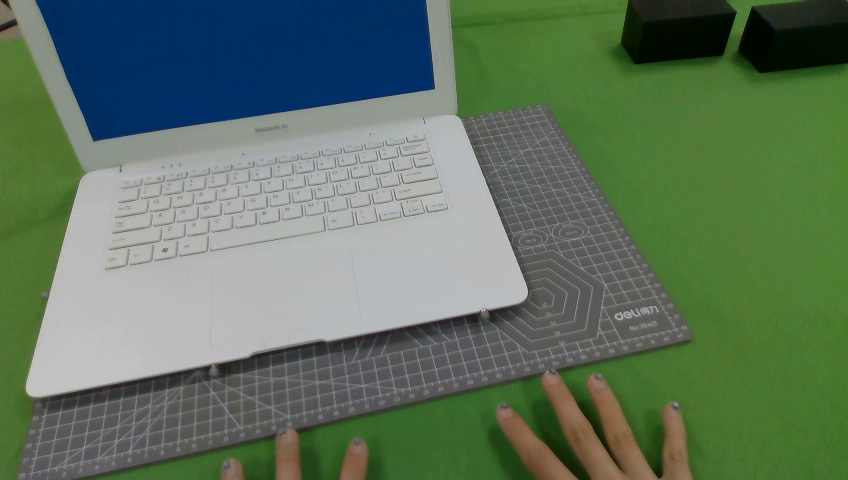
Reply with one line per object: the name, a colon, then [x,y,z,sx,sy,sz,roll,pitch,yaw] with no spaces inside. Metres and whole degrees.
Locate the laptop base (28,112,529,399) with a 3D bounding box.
laptop base: [-0.116,-0.005,0.500,0.355,0.023,0.233,-10,51,-6]

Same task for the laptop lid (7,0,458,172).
laptop lid: [-0.151,-0.187,0.515,0.357,0.244,0.013,-12,33,-5]
